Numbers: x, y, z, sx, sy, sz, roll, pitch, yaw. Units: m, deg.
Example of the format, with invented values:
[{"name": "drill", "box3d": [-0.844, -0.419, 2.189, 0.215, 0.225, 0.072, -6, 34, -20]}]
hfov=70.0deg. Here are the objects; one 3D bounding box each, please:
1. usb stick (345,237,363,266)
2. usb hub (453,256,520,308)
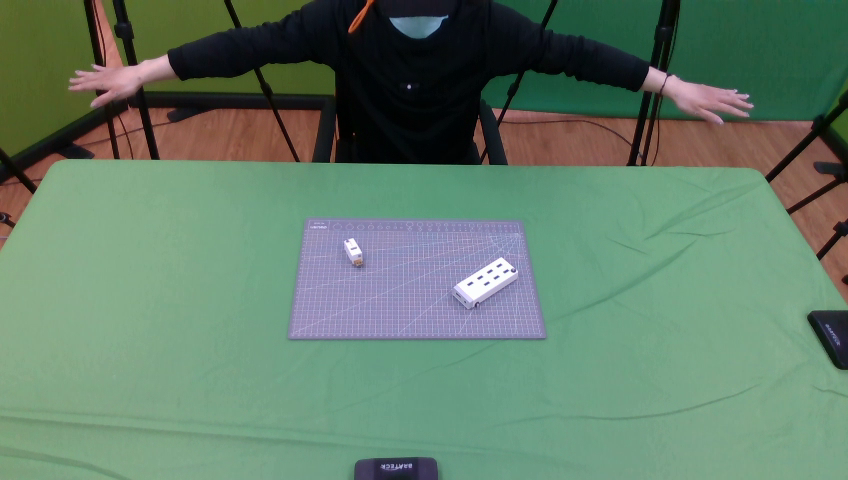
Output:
[{"name": "usb stick", "box3d": [-0.131, 0.024, 1.155, 0.021, 0.027, 0.059, -16, 52, -20]}, {"name": "usb hub", "box3d": [0.117, 0.077, 1.121, 0.125, 0.025, 0.049, -29, 55, -27]}]
